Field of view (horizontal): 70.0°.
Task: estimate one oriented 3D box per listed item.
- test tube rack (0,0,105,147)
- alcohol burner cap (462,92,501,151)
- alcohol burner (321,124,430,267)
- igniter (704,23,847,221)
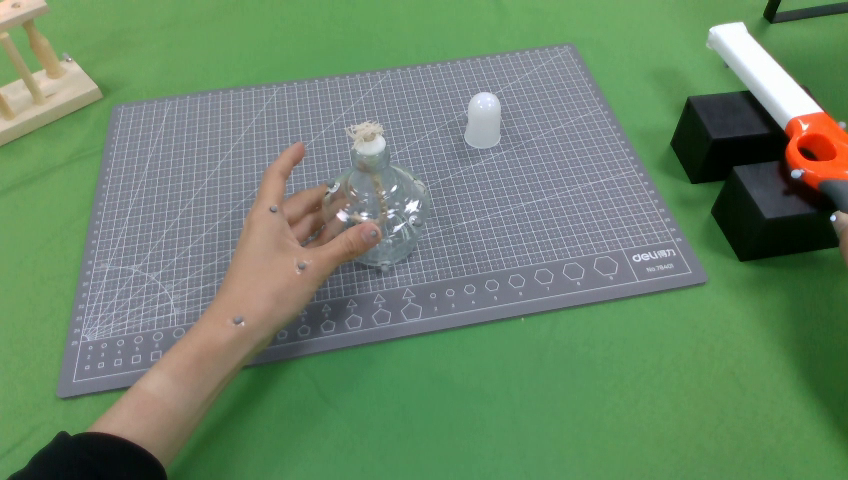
[{"bbox_3d":[-0.418,-0.116,0.516,0.242,0.086,0.066,-36,59,-23],"label":"test tube rack"},{"bbox_3d":[0.050,-0.104,0.517,0.034,0.048,0.033,0,51,0],"label":"alcohol burner cap"},{"bbox_3d":[-0.034,-0.035,0.421,0.078,0.120,0.077,0,53,0],"label":"alcohol burner"},{"bbox_3d":[0.282,-0.078,0.443,0.057,0.025,0.273,-11,51,-1],"label":"igniter"}]
